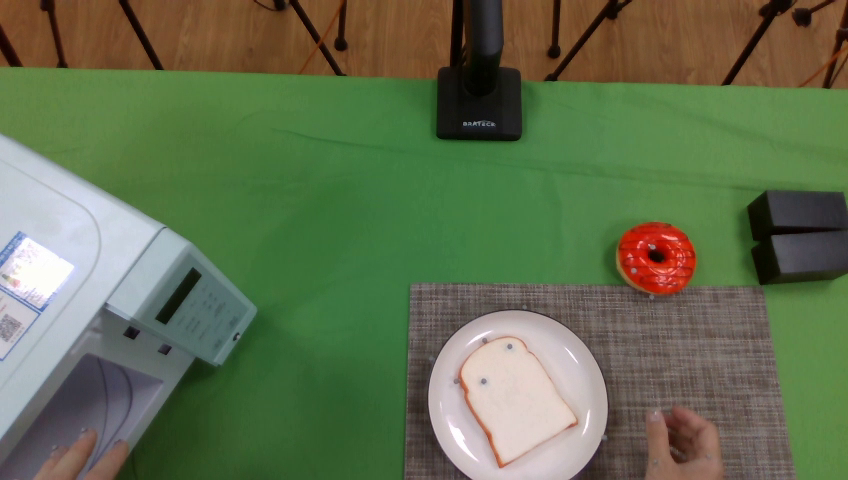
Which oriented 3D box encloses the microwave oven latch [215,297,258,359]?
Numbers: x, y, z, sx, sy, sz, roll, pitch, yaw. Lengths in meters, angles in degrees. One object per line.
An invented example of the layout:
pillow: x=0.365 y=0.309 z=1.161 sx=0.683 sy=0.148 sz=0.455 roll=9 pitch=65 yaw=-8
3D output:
microwave oven latch: x=-0.229 y=0.100 z=0.716 sx=0.030 sy=0.029 sz=0.079 roll=29 pitch=73 yaw=9

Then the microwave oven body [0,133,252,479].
microwave oven body: x=-0.445 y=0.144 z=0.595 sx=0.325 sy=0.261 sz=0.440 roll=28 pitch=73 yaw=9

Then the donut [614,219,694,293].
donut: x=0.290 y=0.020 z=0.766 sx=0.099 sy=0.048 sz=0.098 roll=-1 pitch=67 yaw=3

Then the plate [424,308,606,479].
plate: x=0.103 y=0.184 z=0.705 sx=0.208 sy=0.039 sz=0.206 roll=0 pitch=70 yaw=-1

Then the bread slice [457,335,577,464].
bread slice: x=0.100 y=0.178 z=0.708 sx=0.105 sy=0.019 sz=0.130 roll=-28 pitch=73 yaw=-11
